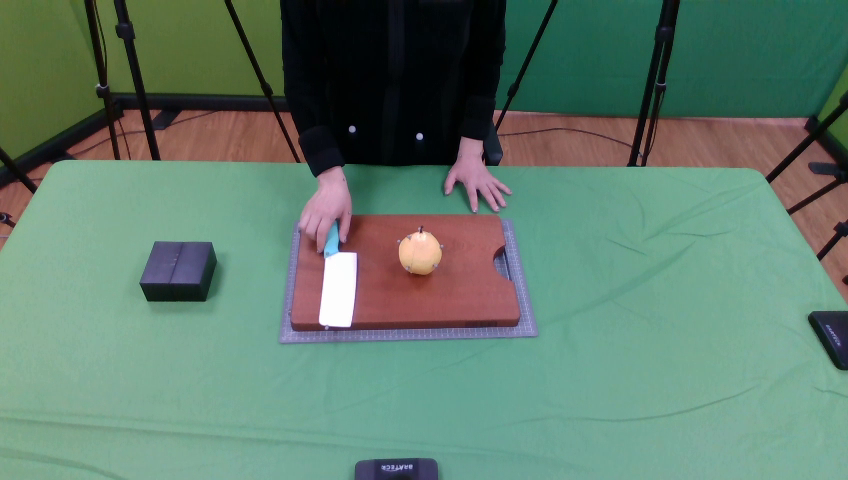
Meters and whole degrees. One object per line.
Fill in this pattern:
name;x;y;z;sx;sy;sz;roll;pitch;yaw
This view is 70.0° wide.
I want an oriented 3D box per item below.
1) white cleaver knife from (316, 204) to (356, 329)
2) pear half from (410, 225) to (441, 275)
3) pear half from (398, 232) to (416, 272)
white cleaver knife;-0.158;0.043;1.111;0.066;0.021;0.284;2;51;-8
pear half;0.004;0.013;1.085;0.056;0.110;0.076;2;51;-3
pear half;-0.032;0.017;1.092;0.031;0.088;0.070;1;51;-3
